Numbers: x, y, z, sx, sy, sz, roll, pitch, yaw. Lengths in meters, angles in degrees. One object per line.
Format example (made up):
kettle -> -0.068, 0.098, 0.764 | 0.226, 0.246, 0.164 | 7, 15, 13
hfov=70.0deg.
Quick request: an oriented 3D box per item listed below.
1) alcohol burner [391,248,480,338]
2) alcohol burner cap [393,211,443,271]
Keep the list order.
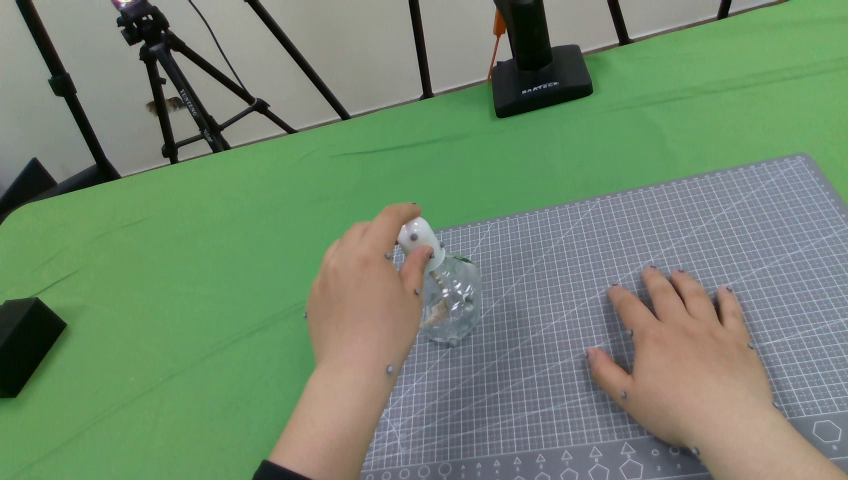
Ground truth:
alcohol burner -> 0.005, 0.027, 0.504 | 0.078, 0.120, 0.077 | -11, 43, 11
alcohol burner cap -> -0.006, -0.002, 0.476 | 0.034, 0.048, 0.033 | -12, 48, 14
